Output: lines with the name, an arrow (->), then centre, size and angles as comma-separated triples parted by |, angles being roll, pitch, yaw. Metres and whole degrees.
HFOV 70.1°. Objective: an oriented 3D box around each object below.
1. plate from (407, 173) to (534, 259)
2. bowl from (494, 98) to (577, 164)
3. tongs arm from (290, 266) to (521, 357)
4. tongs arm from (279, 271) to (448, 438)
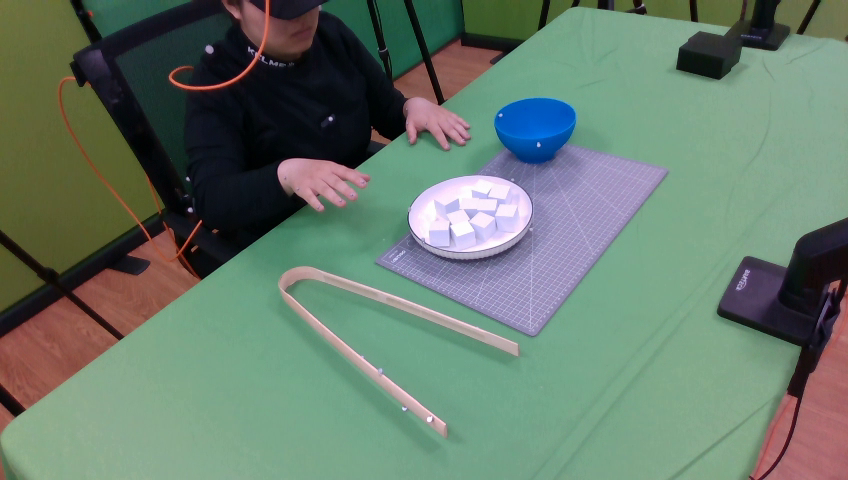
plate -> 0.076, -0.037, 0.997 | 0.207, 0.039, 0.206 | -5, 40, 5
bowl -> 0.207, -0.196, 1.128 | 0.151, 0.077, 0.150 | -5, 40, 5
tongs arm -> -0.039, 0.098, 0.871 | 0.385, 0.028, 0.028 | 16, 49, 28
tongs arm -> -0.092, 0.140, 0.825 | 0.381, 0.026, 0.051 | 28, 51, 37
